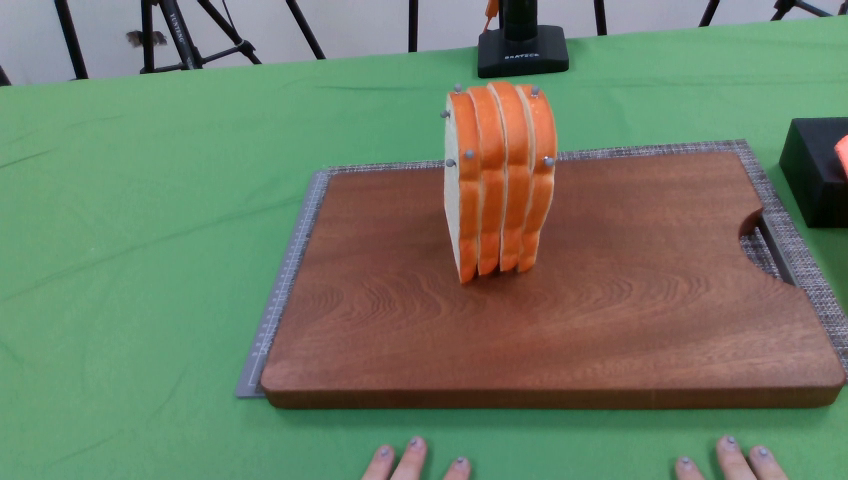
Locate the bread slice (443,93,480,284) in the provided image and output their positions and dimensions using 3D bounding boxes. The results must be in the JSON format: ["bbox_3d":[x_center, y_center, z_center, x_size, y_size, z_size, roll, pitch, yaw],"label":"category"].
[{"bbox_3d":[0.029,-0.049,0.493,0.018,0.135,0.106,-5,38,-2],"label":"bread slice"}]

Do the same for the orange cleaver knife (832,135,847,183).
[{"bbox_3d":[0.363,-0.004,0.465,0.077,0.012,0.210,8,63,13],"label":"orange cleaver knife"}]

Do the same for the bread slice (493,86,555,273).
[{"bbox_3d":[0.080,-0.054,0.489,0.019,0.132,0.103,-3,43,-6],"label":"bread slice"}]
